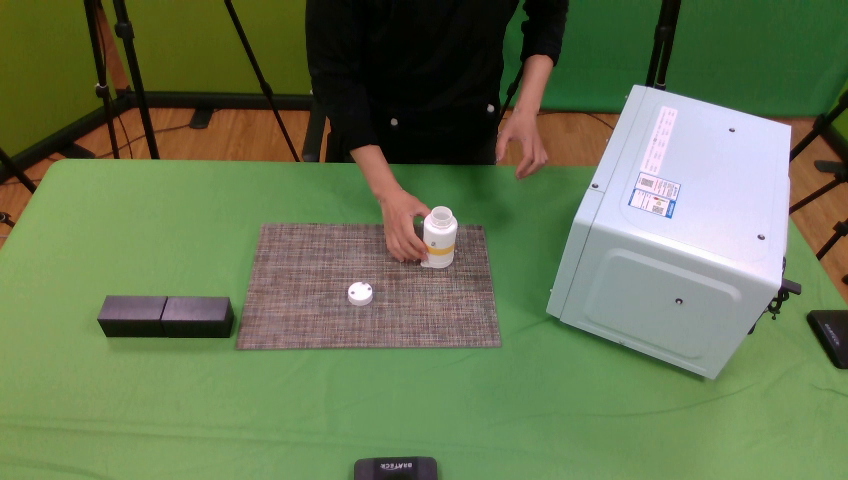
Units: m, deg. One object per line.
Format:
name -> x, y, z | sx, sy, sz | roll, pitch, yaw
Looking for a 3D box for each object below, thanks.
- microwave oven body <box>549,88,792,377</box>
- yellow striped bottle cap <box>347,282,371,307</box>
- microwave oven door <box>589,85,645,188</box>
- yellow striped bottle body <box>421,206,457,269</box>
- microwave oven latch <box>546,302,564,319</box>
microwave oven body -> 0.456, -0.028, 1.088 | 0.325, 0.261, 0.440 | 20, 47, 16
yellow striped bottle cap -> -0.117, 0.098, 1.093 | 0.044, 0.019, 0.044 | 3, 45, -3
microwave oven door -> 0.341, -0.107, 1.149 | 0.039, 0.245, 0.354 | 20, 48, 15
yellow striped bottle body -> 0.028, -0.008, 1.131 | 0.063, 0.121, 0.062 | 2, 46, -2
microwave oven latch -> 0.242, 0.102, 1.081 | 0.030, 0.029, 0.079 | 22, 48, 17
